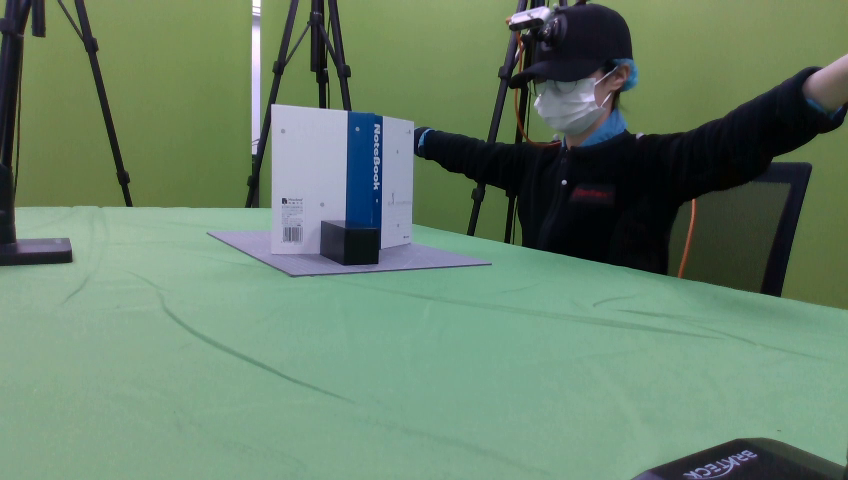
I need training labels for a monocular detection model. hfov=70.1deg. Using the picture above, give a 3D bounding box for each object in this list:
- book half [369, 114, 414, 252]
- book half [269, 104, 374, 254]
[{"bbox_3d":[-0.053,-0.092,0.974,0.007,0.210,0.144,4,7,27],"label":"book half"},{"bbox_3d":[-0.148,-0.084,0.877,0.149,0.210,0.016,0,7,-22],"label":"book half"}]
